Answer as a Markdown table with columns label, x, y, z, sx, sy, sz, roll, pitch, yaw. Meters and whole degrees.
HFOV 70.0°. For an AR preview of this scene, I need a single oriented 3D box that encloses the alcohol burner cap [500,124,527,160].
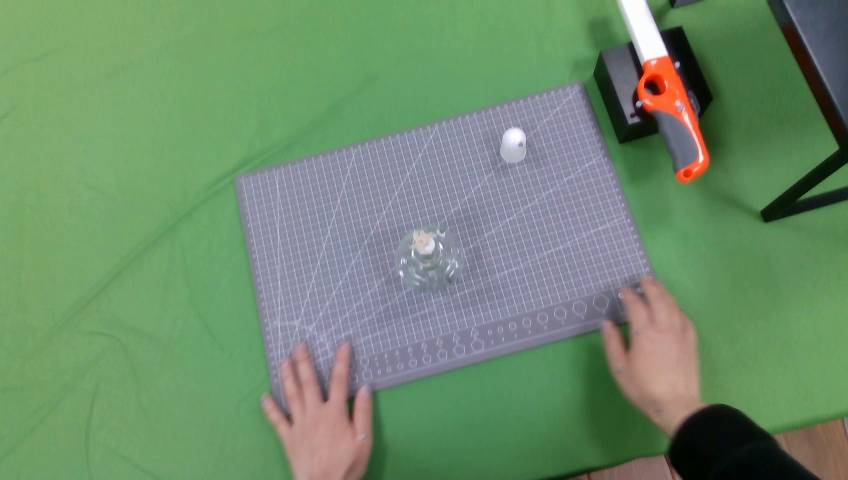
| label | x | y | z | sx | sy | sz | roll | pitch | yaw |
| --- | --- | --- | --- | --- | --- | --- | --- | --- | --- |
| alcohol burner cap | 0.107 | -0.119 | 0.718 | 0.034 | 0.048 | 0.033 | -1 | 75 | 6 |

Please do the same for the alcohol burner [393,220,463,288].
| label | x | y | z | sx | sy | sz | roll | pitch | yaw |
| --- | --- | --- | --- | --- | --- | --- | --- | --- | --- |
| alcohol burner | 0.003 | 0.012 | 0.653 | 0.078 | 0.120 | 0.077 | -1 | 75 | 6 |

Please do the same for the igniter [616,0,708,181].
| label | x | y | z | sx | sy | sz | roll | pitch | yaw |
| --- | --- | --- | --- | --- | --- | --- | --- | --- | --- |
| igniter | 0.264 | -0.194 | 0.688 | 0.057 | 0.025 | 0.274 | -12 | 71 | 2 |
